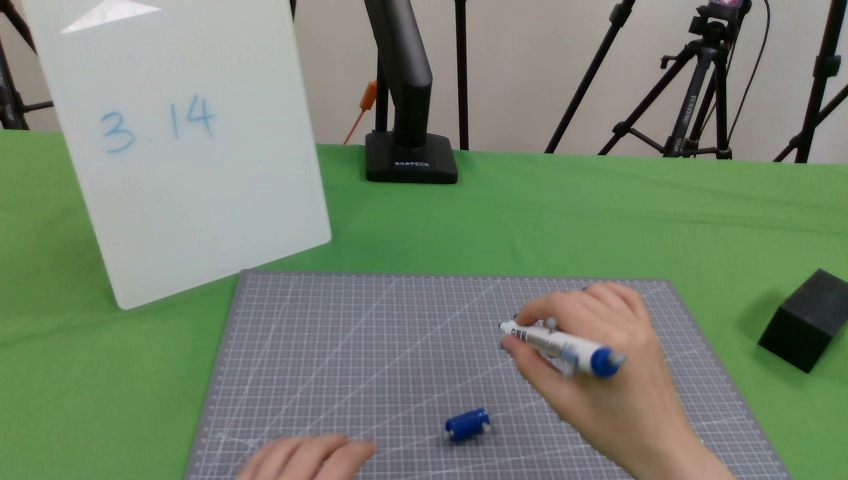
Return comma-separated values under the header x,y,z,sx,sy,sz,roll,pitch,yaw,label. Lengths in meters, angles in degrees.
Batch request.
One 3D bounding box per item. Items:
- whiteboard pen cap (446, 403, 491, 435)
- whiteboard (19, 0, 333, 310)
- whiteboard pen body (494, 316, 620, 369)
x,y,z,sx,sy,sz,roll,pitch,yaw,label
0.035,0.138,0.467,0.033,0.018,0.018,-11,39,-27,whiteboard pen cap
-0.241,-0.125,0.595,0.218,0.307,0.142,-21,25,-32,whiteboard
0.074,0.059,0.373,0.017,0.017,0.140,-7,1,-18,whiteboard pen body
